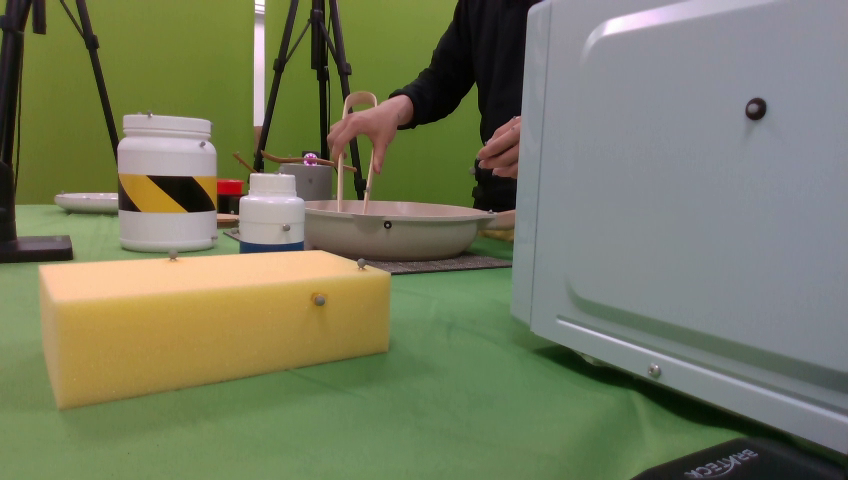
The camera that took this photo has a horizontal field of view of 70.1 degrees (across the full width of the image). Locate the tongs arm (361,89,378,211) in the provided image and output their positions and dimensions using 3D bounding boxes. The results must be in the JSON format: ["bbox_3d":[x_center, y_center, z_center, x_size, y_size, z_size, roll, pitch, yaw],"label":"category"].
[{"bbox_3d":[-0.108,-0.157,1.062,0.051,0.026,0.384,0,44,3],"label":"tongs arm"}]

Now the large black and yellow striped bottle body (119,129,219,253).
[{"bbox_3d":[-0.367,-0.080,0.876,0.131,0.184,0.130,1,7,0],"label":"large black and yellow striped bottle body"}]

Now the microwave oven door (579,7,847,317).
[{"bbox_3d":[0.294,-0.067,0.570,0.358,0.243,0.039,-3,9,-31],"label":"microwave oven door"}]

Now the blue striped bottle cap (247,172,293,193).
[{"bbox_3d":[-0.152,-0.057,0.598,0.044,0.020,0.044,3,7,0],"label":"blue striped bottle cap"}]

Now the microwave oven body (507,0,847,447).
[{"bbox_3d":[0.331,-0.042,0.425,0.444,0.260,0.324,-2,8,-31],"label":"microwave oven body"}]

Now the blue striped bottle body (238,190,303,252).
[{"bbox_3d":[-0.153,-0.007,0.606,0.063,0.120,0.063,2,7,0],"label":"blue striped bottle body"}]

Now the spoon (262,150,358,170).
[{"bbox_3d":[-0.229,-0.162,1.222,0.194,0.021,0.041,4,4,-16],"label":"spoon"}]

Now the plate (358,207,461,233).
[{"bbox_3d":[-0.030,-0.041,1.213,0.208,0.039,0.207,3,7,0],"label":"plate"}]

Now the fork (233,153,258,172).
[{"bbox_3d":[-0.396,-0.144,1.486,0.028,0.018,0.208,20,-26,45],"label":"fork"}]

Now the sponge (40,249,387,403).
[{"bbox_3d":[-0.142,0.047,0.420,0.208,0.061,0.117,-3,8,-36],"label":"sponge"}]

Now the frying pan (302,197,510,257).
[{"bbox_3d":[0.051,-0.035,0.915,0.487,0.102,0.307,-5,7,11],"label":"frying pan"}]

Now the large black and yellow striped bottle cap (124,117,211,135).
[{"bbox_3d":[-0.366,-0.163,0.866,0.115,0.019,0.115,3,7,0],"label":"large black and yellow striped bottle cap"}]

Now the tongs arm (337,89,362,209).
[{"bbox_3d":[-0.132,-0.156,1.062,0.028,0.028,0.386,-5,44,3],"label":"tongs arm"}]

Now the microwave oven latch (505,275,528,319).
[{"bbox_3d":[0.100,0.041,0.471,0.079,0.029,0.030,-1,7,-28],"label":"microwave oven latch"}]

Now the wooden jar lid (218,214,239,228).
[{"bbox_3d":[-0.404,-0.037,1.169,0.108,0.020,0.108,3,7,0],"label":"wooden jar lid"}]

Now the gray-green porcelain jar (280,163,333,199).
[{"bbox_3d":[-0.238,-0.092,1.221,0.106,0.126,0.106,2,7,0],"label":"gray-green porcelain jar"}]

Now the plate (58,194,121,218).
[{"bbox_3d":[-0.671,-0.074,1.310,0.209,0.038,0.209,2,8,0],"label":"plate"}]
